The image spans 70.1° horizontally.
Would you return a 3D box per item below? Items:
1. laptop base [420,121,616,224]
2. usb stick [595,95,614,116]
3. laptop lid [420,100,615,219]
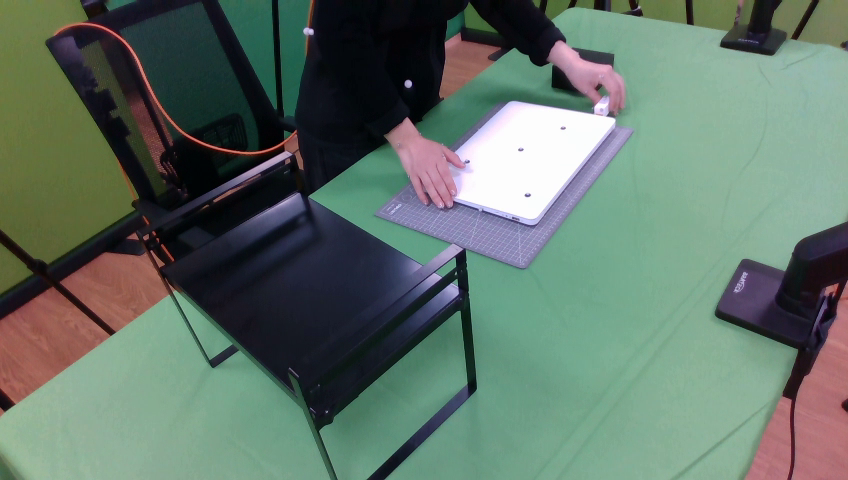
[{"bbox_3d":[0.184,-0.156,1.132,0.234,0.023,0.355,17,46,31],"label":"laptop base"},{"bbox_3d":[0.357,-0.262,1.208,0.021,0.027,0.059,14,54,37],"label":"usb stick"},{"bbox_3d":[0.180,-0.166,1.125,0.240,0.013,0.357,20,47,31],"label":"laptop lid"}]
